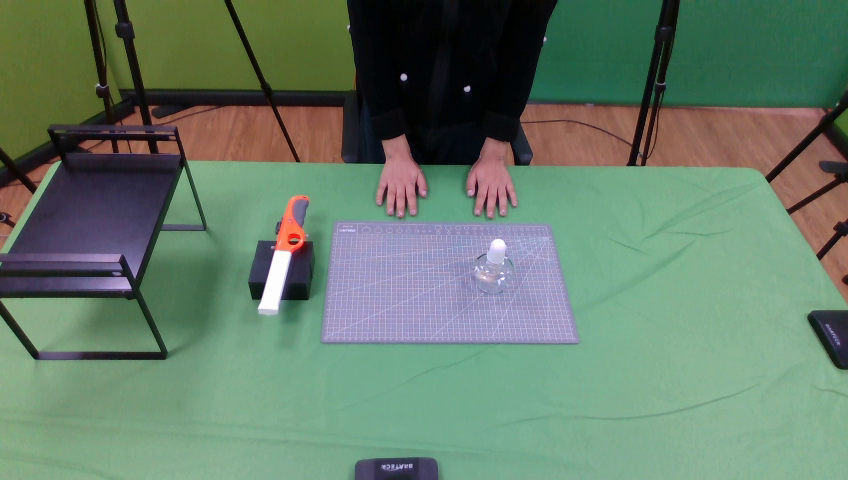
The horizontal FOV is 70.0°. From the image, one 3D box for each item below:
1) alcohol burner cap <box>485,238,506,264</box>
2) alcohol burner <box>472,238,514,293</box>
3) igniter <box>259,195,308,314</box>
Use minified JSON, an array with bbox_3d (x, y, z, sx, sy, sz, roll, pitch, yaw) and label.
[{"bbox_3d":[0.129,0.016,1.076,0.034,0.048,0.033,3,52,-4],"label":"alcohol burner cap"},{"bbox_3d":[0.128,0.041,1.101,0.078,0.120,0.077,1,47,-1],"label":"alcohol burner"},{"bbox_3d":[-0.252,0.016,1.094,0.057,0.025,0.275,6,48,-3],"label":"igniter"}]
